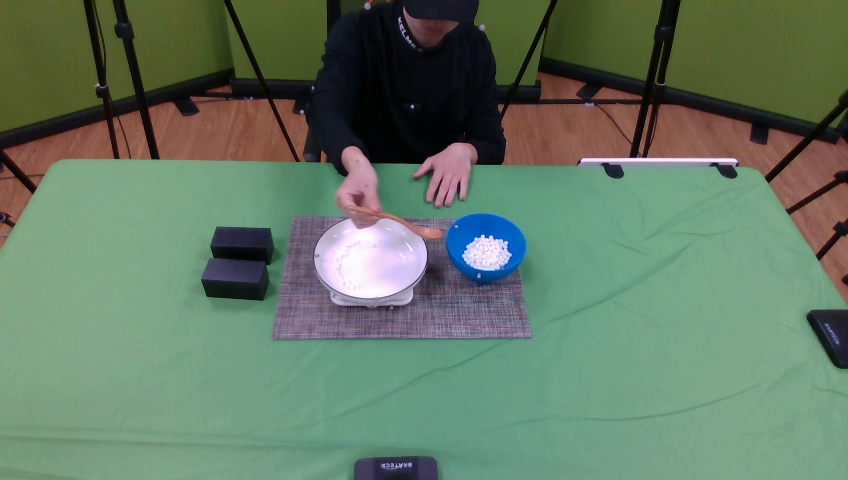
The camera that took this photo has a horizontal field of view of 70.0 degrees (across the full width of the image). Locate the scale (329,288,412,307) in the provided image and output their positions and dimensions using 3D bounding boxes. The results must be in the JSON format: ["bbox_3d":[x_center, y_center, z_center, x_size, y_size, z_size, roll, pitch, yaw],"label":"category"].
[{"bbox_3d":[-0.099,0.042,1.139,0.149,0.032,0.199,1,46,-4],"label":"scale"}]

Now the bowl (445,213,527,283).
[{"bbox_3d":[0.111,0.028,1.137,0.151,0.077,0.150,2,46,-2],"label":"bowl"}]

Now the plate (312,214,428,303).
[{"bbox_3d":[-0.097,0.036,1.100,0.209,0.038,0.208,2,46,-2],"label":"plate"}]

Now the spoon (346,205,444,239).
[{"bbox_3d":[-0.048,-0.034,1.041,0.195,0.021,0.041,20,20,-32],"label":"spoon"}]
